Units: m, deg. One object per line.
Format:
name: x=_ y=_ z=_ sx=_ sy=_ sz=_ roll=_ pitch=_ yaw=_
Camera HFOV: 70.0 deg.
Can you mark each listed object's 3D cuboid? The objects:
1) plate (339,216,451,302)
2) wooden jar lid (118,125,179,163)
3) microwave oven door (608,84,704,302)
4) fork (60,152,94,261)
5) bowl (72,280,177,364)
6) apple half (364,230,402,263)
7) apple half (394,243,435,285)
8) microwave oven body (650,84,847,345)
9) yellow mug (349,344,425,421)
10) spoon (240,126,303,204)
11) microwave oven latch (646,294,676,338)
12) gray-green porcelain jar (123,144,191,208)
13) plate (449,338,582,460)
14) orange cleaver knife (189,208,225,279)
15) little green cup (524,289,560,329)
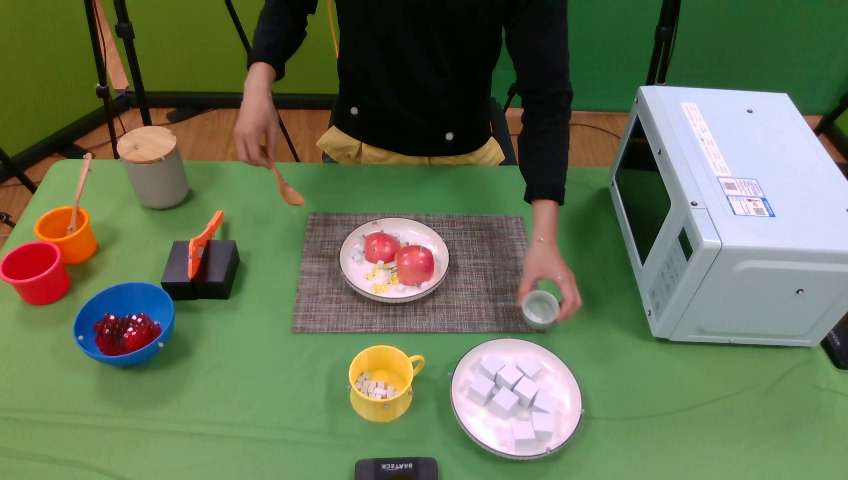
plate: x=-0.054 y=0.038 z=1.138 sx=0.209 sy=0.038 sz=0.208 roll=2 pitch=46 yaw=-2
wooden jar lid: x=-0.528 y=-0.181 z=1.167 sx=0.108 sy=0.021 sz=0.107 roll=4 pitch=48 yaw=-4
microwave oven door: x=0.424 y=-0.096 z=1.138 sx=0.039 sy=0.245 sz=0.353 roll=2 pitch=47 yaw=-1
fork: x=-0.638 y=-0.063 z=1.119 sx=0.028 sy=0.018 sz=0.207 roll=12 pitch=90 yaw=9
bowl: x=-0.472 y=0.147 z=0.982 sx=0.151 sy=0.077 sz=0.150 roll=2 pitch=46 yaw=-2
apple half: x=-0.079 y=0.005 z=1.159 sx=0.081 sy=0.033 sz=0.081 roll=3 pitch=49 yaw=-3
apple half: x=-0.016 y=0.036 z=1.120 sx=0.075 sy=0.053 sz=0.080 roll=1 pitch=46 yaw=-6
microwave oven body: x=0.569 y=-0.054 z=1.116 sx=0.326 sy=0.261 sz=0.439 roll=2 pitch=46 yaw=-1
yellow mug: x=-0.054 y=0.217 z=0.954 sx=0.131 sy=0.064 sz=0.099 roll=-24 pitch=53 yaw=-25
spoon: x=-0.287 y=-0.142 z=1.133 sx=0.041 sy=0.021 sz=0.193 roll=-24 pitch=77 yaw=-51
microwave oven latch: x=0.412 y=0.133 z=1.061 sx=0.030 sy=0.029 sz=0.078 roll=3 pitch=46 yaw=0
gray-green porcelain jar: x=-0.530 y=-0.136 z=1.213 sx=0.106 sy=0.127 sz=0.105 roll=2 pitch=46 yaw=-2
plate: x=0.141 y=0.251 z=0.955 sx=0.208 sy=0.039 sz=0.206 roll=2 pitch=47 yaw=-2
orange cleaver knife: x=-0.400 y=0.002 z=1.122 sx=0.012 sy=0.077 sz=0.210 roll=4 pitch=23 yaw=-4
little green cup: x=0.199 y=0.120 z=1.030 sx=0.061 sy=0.039 sz=0.061 roll=-3 pitch=59 yaw=5
